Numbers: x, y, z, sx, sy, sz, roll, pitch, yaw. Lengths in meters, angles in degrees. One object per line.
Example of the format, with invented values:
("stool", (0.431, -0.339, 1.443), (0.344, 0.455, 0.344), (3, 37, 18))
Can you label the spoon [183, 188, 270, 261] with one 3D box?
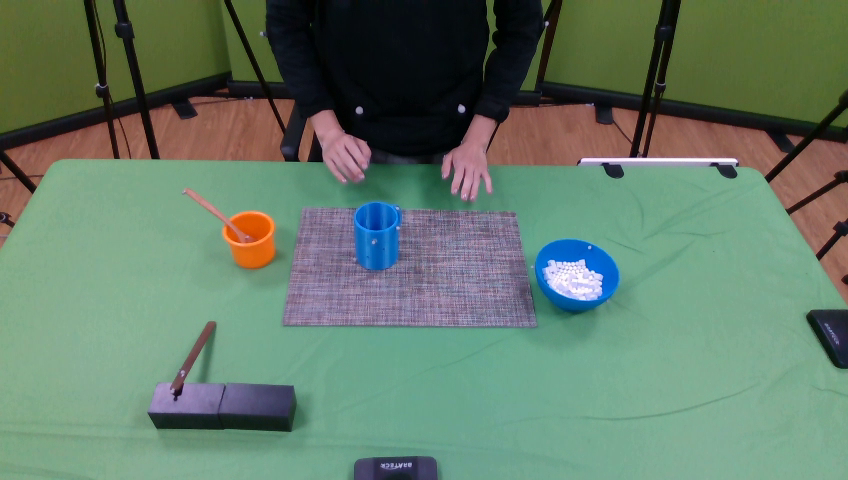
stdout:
("spoon", (-0.360, -0.029, 1.110), (0.021, 0.194, 0.041), (-21, 31, 41))

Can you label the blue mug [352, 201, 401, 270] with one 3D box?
("blue mug", (-0.082, -0.017, 1.144), (0.082, 0.106, 0.116), (30, 51, 22))

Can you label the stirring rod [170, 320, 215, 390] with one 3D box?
("stirring rod", (-0.368, 0.180, 0.969), (0.014, 0.006, 0.175), (0, 27, 0))

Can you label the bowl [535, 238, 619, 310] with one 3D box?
("bowl", (0.270, 0.076, 1.107), (0.151, 0.077, 0.150), (2, 46, -2))
